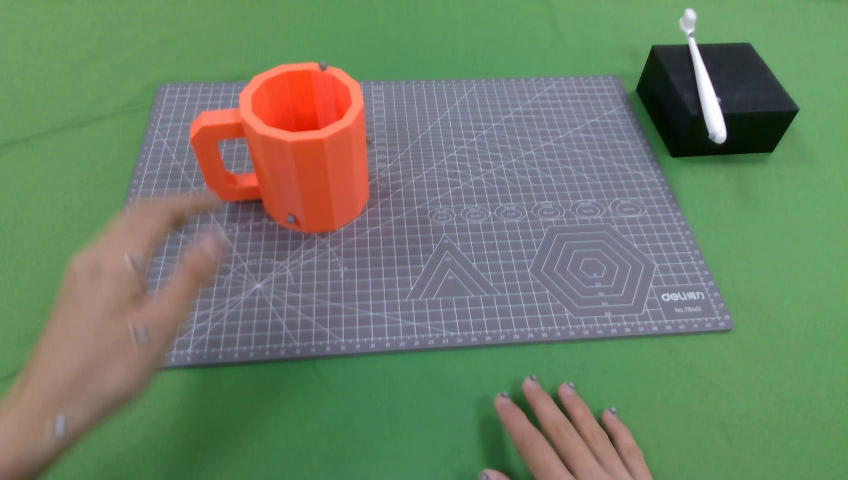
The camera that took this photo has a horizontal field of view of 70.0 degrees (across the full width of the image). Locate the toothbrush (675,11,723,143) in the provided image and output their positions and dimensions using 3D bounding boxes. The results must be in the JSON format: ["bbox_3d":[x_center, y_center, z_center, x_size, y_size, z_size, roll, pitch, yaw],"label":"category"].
[{"bbox_3d":[0.244,-0.150,0.539,0.014,0.017,0.180,8,52,-1],"label":"toothbrush"}]

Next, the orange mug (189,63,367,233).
[{"bbox_3d":[-0.106,-0.067,0.456,0.126,0.101,0.082,-5,52,-13],"label":"orange mug"}]
